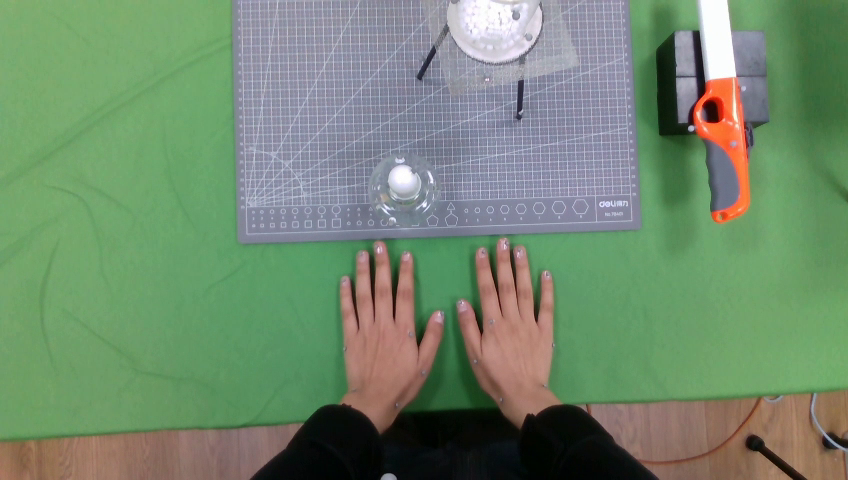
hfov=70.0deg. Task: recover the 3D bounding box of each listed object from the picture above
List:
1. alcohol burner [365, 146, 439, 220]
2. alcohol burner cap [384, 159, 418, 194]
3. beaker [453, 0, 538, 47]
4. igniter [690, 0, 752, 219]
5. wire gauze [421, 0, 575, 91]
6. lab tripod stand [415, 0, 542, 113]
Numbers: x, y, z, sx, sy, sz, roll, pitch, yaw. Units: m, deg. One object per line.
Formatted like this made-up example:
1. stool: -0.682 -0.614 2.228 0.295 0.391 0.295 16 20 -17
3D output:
1. alcohol burner: -0.022 -0.060 0.620 0.078 0.119 0.078 0 88 -3
2. alcohol burner cap: -0.023 -0.063 0.584 0.034 0.048 0.034 0 87 0
3. beaker: 0.060 -0.212 0.507 0.084 0.100 0.074 -4 85 -2
4. igniter: 0.309 -0.160 0.637 0.057 0.025 0.276 -4 87 9
5. wire gauze: 0.065 -0.206 0.555 0.125 0.011 0.121 -15 88 -5
6. lab tripod stand: 0.063 -0.208 0.621 0.148 0.131 0.148 0 85 -1
